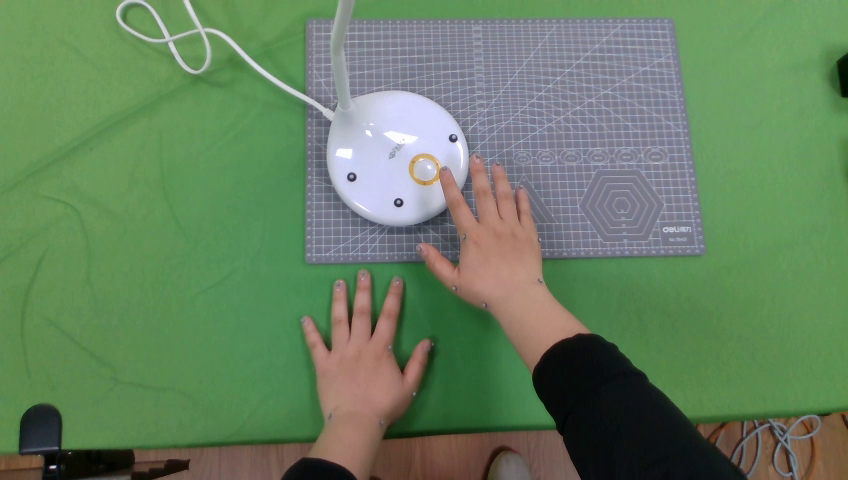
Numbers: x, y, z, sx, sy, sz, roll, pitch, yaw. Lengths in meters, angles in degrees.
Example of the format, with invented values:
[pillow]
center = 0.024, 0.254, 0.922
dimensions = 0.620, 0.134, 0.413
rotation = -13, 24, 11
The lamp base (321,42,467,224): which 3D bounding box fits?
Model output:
[lamp base]
center = -0.041, -0.118, 0.608
dimensions = 0.179, 0.181, 0.160
rotation = 25, 77, 6
